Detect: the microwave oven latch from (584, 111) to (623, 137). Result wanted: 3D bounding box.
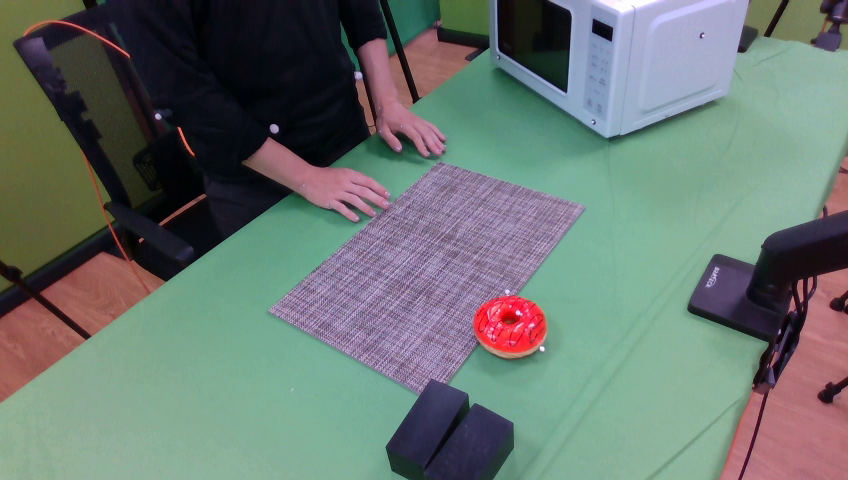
[{"bbox_3d":[0.337,-0.222,1.142,0.030,0.029,0.078,-21,42,-14],"label":"microwave oven latch"}]

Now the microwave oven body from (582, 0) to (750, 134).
[{"bbox_3d":[0.382,-0.444,1.246,0.327,0.261,0.437,-22,42,-16],"label":"microwave oven body"}]

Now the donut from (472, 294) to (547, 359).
[{"bbox_3d":[0.114,0.114,0.803,0.099,0.048,0.098,0,40,1],"label":"donut"}]

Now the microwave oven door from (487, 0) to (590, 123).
[{"bbox_3d":[0.232,-0.420,1.231,0.039,0.245,0.352,-22,43,-16],"label":"microwave oven door"}]
